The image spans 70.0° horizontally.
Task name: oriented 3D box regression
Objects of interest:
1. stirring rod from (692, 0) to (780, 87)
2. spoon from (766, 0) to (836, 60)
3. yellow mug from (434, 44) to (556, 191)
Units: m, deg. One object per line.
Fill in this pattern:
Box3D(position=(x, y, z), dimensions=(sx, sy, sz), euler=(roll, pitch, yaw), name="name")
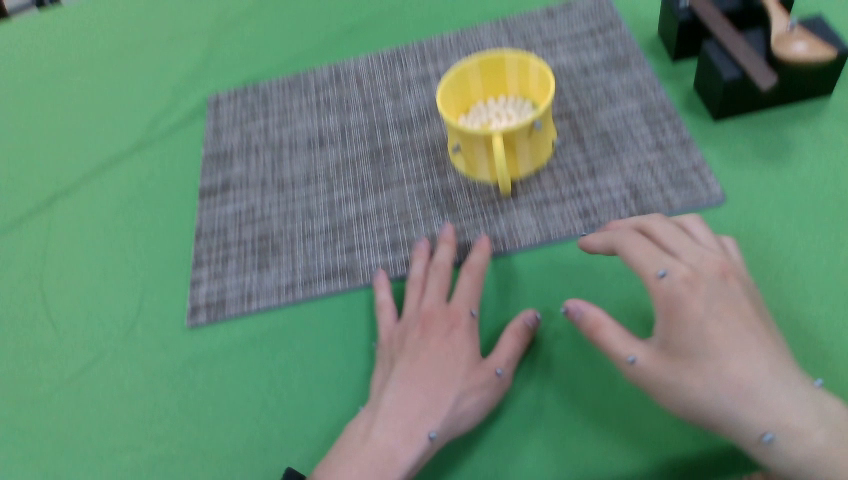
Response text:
Box3D(position=(0.248, -0.189, 0.512), dimensions=(0.014, 0.006, 0.174), euler=(-38, 50, 29), name="stirring rod")
Box3D(position=(0.287, -0.208, 0.510), dimensions=(0.041, 0.022, 0.191), euler=(-6, 53, 2), name="spoon")
Box3D(position=(0.063, -0.100, 0.518), dimensions=(0.100, 0.064, 0.129), euler=(-7, 56, 9), name="yellow mug")
